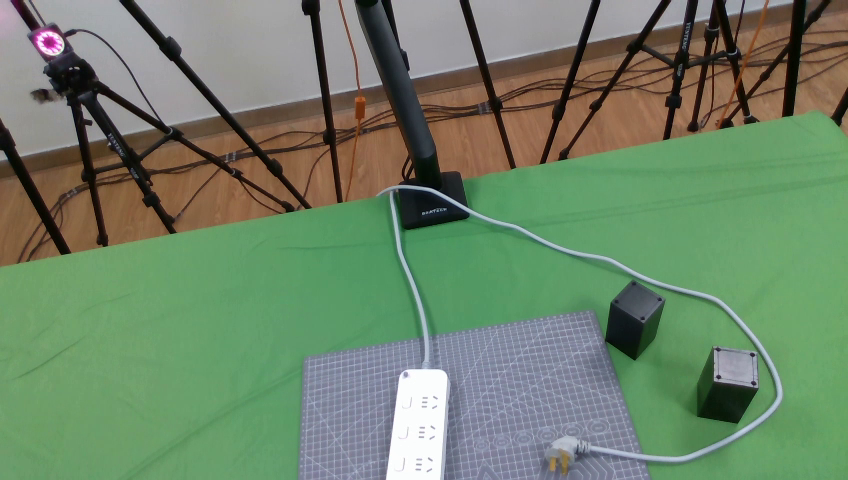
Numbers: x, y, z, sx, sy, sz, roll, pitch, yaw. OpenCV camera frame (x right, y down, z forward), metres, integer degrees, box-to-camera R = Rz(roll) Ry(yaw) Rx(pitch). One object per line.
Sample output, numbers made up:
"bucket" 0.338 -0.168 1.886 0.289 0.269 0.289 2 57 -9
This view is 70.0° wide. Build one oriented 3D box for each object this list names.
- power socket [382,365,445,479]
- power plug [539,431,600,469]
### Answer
"power socket" -0.013 0.269 0.804 0.072 0.033 0.224 -1 50 9
"power plug" 0.182 0.265 0.764 0.072 0.035 0.052 -5 31 21
